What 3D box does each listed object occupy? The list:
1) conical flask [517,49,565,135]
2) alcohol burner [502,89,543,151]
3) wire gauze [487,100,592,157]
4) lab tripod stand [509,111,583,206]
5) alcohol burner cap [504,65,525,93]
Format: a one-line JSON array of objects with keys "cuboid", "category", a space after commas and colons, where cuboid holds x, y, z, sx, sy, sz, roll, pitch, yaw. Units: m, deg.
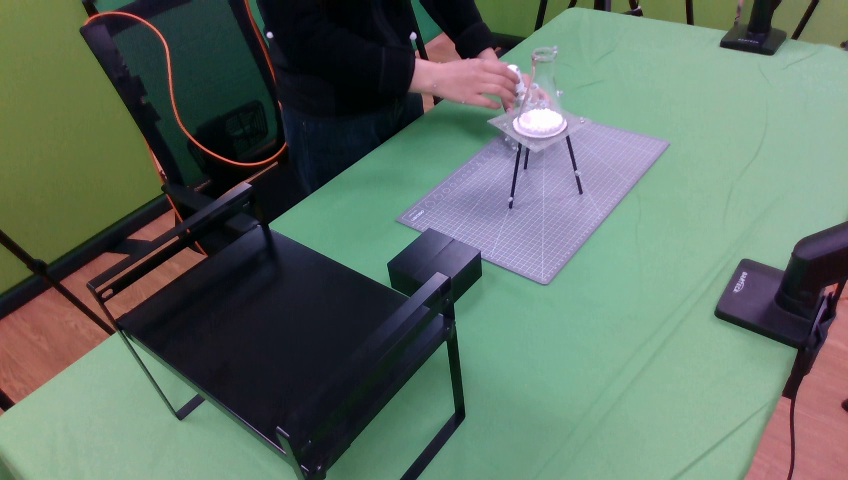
[{"cuboid": [0.183, -0.231, 0.936, 0.075, 0.122, 0.075, -4, 40, 4], "category": "conical flask"}, {"cuboid": [0.186, -0.231, 1.145, 0.078, 0.119, 0.077, -6, 38, 6], "category": "alcohol burner"}, {"cuboid": [0.185, -0.187, 0.974, 0.122, 0.011, 0.124, -28, 47, -22], "category": "wire gauze"}, {"cuboid": [0.198, -0.139, 1.019, 0.148, 0.132, 0.147, -3, 39, 3], "category": "lab tripod stand"}, {"cuboid": [0.159, -0.288, 1.071, 0.034, 0.048, 0.033, -11, 49, 14], "category": "alcohol burner cap"}]
